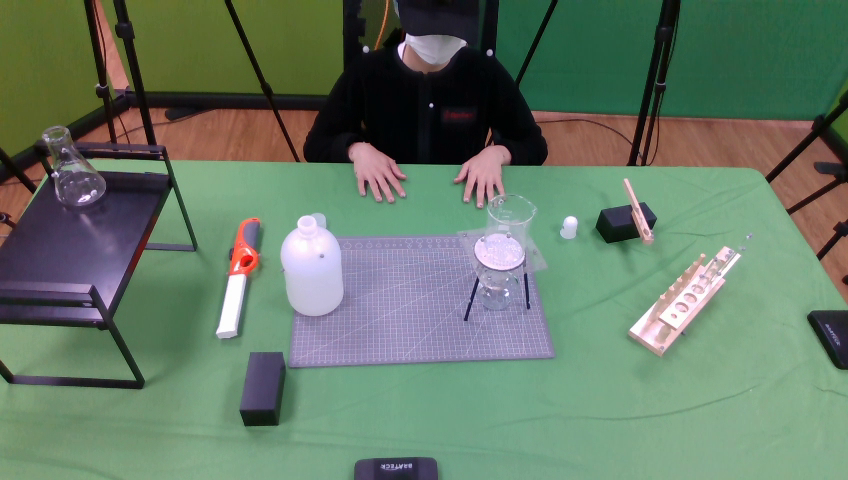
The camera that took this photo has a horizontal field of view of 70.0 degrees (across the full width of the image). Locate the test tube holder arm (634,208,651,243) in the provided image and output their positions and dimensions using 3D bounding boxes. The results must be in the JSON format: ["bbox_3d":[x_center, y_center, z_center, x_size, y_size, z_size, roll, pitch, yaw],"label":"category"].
[{"bbox_3d":[0.428,-0.030,1.189,0.010,0.015,0.087,2,47,-3],"label":"test tube holder arm"}]

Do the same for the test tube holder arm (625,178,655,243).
[{"bbox_3d":[0.433,-0.062,1.220,0.013,0.015,0.177,1,47,-3],"label":"test tube holder arm"}]

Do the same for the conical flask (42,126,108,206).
[{"bbox_3d":[-0.555,-0.119,0.953,0.075,0.122,0.075,2,46,-2],"label":"conical flask"}]

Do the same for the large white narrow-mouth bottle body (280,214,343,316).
[{"bbox_3d":[-0.190,0.035,1.025,0.102,0.195,0.101,2,46,-2],"label":"large white narrow-mouth bottle body"}]

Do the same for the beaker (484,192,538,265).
[{"bbox_3d":[0.137,-0.016,0.980,0.084,0.101,0.073,-6,45,-9],"label":"beaker"}]

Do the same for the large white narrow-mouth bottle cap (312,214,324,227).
[{"bbox_3d":[-0.219,-0.033,1.214,0.038,0.024,0.037,2,46,-2],"label":"large white narrow-mouth bottle cap"}]

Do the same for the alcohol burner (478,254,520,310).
[{"bbox_3d":[0.134,0.068,1.071,0.078,0.120,0.077,0,47,0],"label":"alcohol burner"}]

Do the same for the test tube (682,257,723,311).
[{"bbox_3d":[0.474,0.080,1.037,0.017,0.151,0.017,1,50,-1],"label":"test tube"}]

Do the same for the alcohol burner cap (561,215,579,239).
[{"bbox_3d":[0.299,-0.030,1.231,0.034,0.048,0.033,0,46,0],"label":"alcohol burner cap"}]

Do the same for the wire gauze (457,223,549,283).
[{"bbox_3d":[0.131,0.016,1.017,0.121,0.011,0.124,-10,44,-16],"label":"wire gauze"}]

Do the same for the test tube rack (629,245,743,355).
[{"bbox_3d":[0.474,0.095,1.091,0.242,0.085,0.066,-34,56,-31],"label":"test tube rack"}]

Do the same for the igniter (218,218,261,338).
[{"bbox_3d":[-0.336,0.060,1.111,0.057,0.025,0.274,-7,46,4],"label":"igniter"}]

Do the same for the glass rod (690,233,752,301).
[{"bbox_3d":[0.507,0.053,1.041,0.008,0.200,0.008,5,50,-6],"label":"glass rod"}]

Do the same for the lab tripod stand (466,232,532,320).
[{"bbox_3d":[0.125,0.059,1.065,0.148,0.132,0.147,1,45,0],"label":"lab tripod stand"}]
